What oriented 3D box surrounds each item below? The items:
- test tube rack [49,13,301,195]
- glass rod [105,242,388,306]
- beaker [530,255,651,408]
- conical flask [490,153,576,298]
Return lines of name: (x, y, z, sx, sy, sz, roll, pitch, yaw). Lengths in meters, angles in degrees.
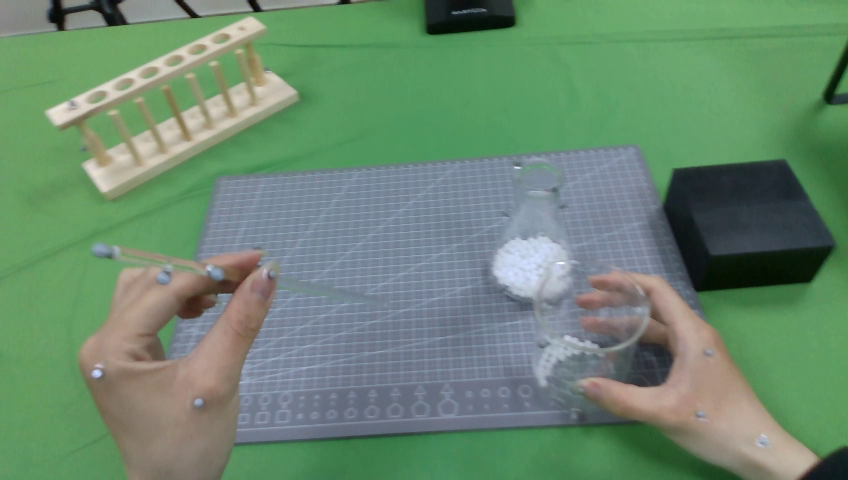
test tube rack: (-0.265, -0.156, 0.675, 0.242, 0.086, 0.066, -35, 55, -21)
glass rod: (-0.078, 0.024, 0.334, 0.008, 0.201, 0.008, -8, 75, 30)
beaker: (0.112, 0.069, 0.439, 0.074, 0.101, 0.083, -24, 51, -13)
conical flask: (0.091, -0.013, 0.494, 0.075, 0.123, 0.074, -3, 50, 4)
